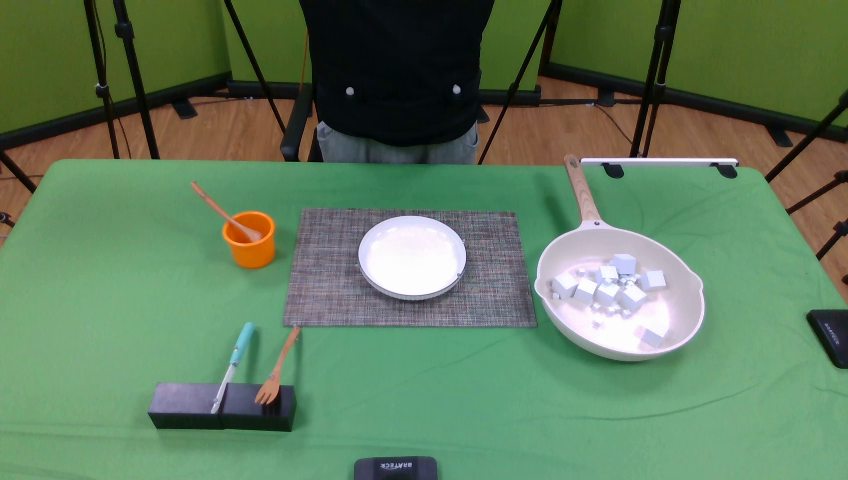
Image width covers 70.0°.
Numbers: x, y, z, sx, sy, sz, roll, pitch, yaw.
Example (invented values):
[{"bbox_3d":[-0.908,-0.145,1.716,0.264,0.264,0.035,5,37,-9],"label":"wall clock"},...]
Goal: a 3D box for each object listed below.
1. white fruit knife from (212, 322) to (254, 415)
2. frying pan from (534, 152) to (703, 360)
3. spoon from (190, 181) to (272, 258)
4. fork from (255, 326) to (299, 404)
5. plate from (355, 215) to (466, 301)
[{"bbox_3d":[-0.298,0.193,0.947,0.016,0.027,0.206,1,31,-1],"label":"white fruit knife"},{"bbox_3d":[0.335,0.013,1.154,0.307,0.103,0.484,-1,55,-7],"label":"frying pan"},{"bbox_3d":[-0.353,-0.037,1.111,0.194,0.021,0.041,42,39,-20],"label":"spoon"},{"bbox_3d":[-0.226,0.192,0.955,0.028,0.019,0.206,0,27,4],"label":"fork"},{"bbox_3d":[-0.025,0.038,1.144,0.208,0.039,0.206,3,46,-2],"label":"plate"}]
